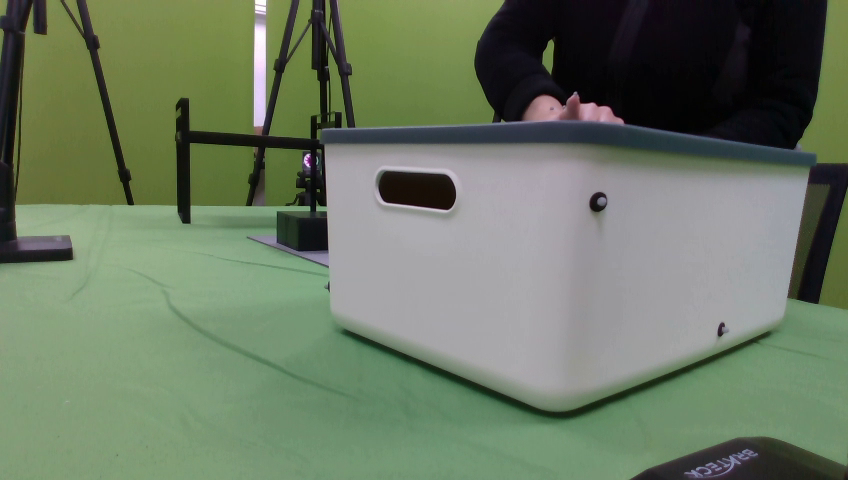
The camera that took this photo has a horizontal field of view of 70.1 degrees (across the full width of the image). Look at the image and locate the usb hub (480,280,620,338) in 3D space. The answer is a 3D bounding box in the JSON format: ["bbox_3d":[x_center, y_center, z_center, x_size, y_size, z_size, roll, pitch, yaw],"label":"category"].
[{"bbox_3d":[0.111,0.057,0.525,0.126,0.025,0.049,-5,13,-35],"label":"usb hub"}]

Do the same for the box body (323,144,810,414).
[{"bbox_3d":[0.125,-0.001,0.510,0.366,0.160,0.253,-4,10,-41],"label":"box body"}]

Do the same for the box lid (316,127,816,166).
[{"bbox_3d":[0.128,-0.073,0.502,0.374,0.015,0.262,-4,10,-41],"label":"box lid"}]
